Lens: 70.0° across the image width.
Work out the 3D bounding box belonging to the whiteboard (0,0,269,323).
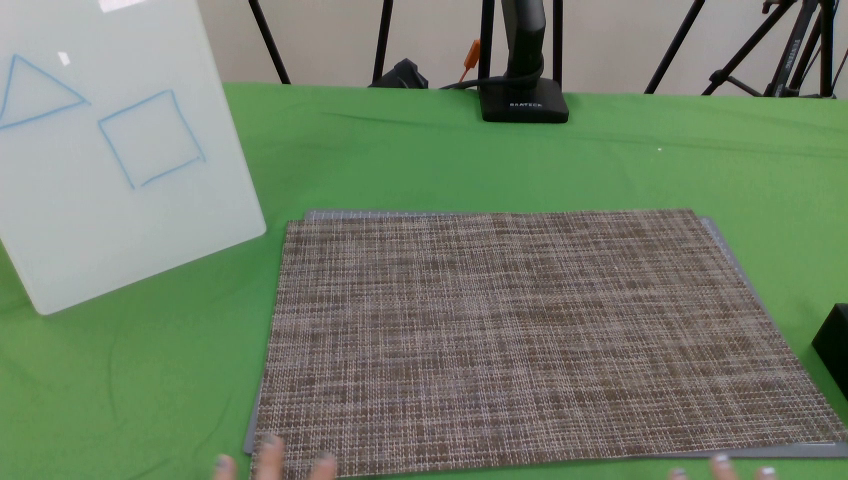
[{"bbox_3d":[-0.312,-0.119,0.575,0.217,0.307,0.142,-24,26,-27],"label":"whiteboard"}]
